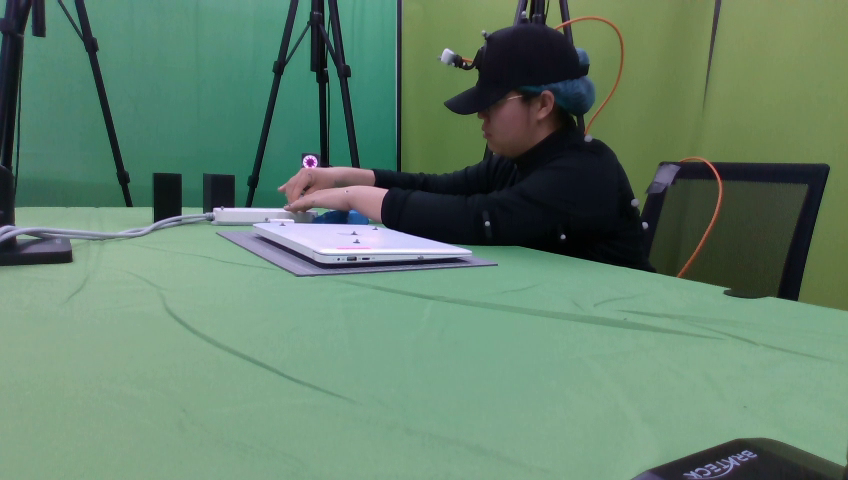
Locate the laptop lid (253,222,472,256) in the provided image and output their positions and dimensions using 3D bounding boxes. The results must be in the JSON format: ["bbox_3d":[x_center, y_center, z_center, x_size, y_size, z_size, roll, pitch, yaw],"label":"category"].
[{"bbox_3d":[-0.113,-0.005,0.955,0.243,0.013,0.355,1,7,-29],"label":"laptop lid"}]

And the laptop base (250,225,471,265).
[{"bbox_3d":[-0.115,0.007,0.955,0.237,0.023,0.352,2,6,-31],"label":"laptop base"}]

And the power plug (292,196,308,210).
[{"bbox_3d":[-0.274,-0.072,1.342,0.035,0.052,0.072,-6,-1,-6],"label":"power plug"}]

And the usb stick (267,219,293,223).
[{"bbox_3d":[-0.272,-0.025,1.108,0.059,0.027,0.021,-4,11,-27],"label":"usb stick"}]

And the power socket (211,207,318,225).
[{"bbox_3d":[-0.334,-0.051,1.282,0.228,0.032,0.072,-1,9,-27],"label":"power socket"}]

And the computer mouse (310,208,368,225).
[{"bbox_3d":[-0.179,-0.044,1.274,0.118,0.041,0.062,-6,13,-29],"label":"computer mouse"}]
